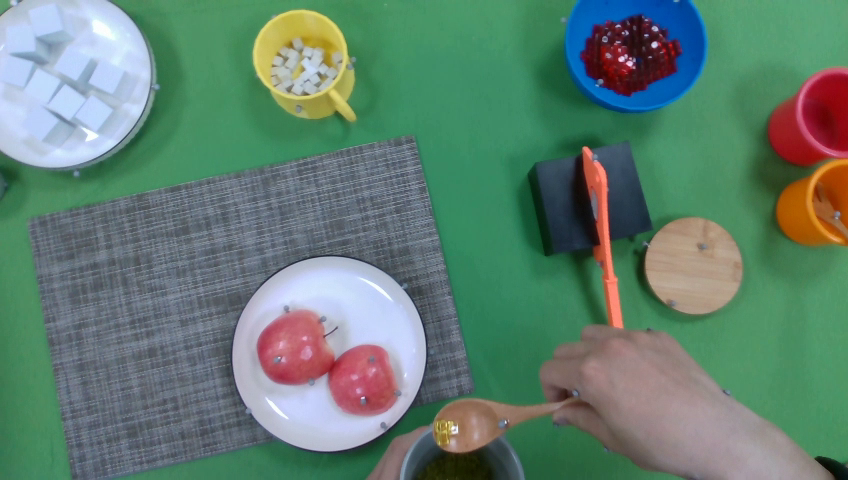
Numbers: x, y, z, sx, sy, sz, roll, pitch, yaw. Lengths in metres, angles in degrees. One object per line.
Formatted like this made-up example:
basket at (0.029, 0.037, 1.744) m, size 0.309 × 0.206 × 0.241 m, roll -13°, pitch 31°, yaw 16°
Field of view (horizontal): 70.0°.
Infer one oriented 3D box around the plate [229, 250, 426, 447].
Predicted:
plate at (-0.103, 0.115, 0.657) m, size 0.209 × 0.038 × 0.208 m, roll 0°, pitch 85°, yaw -1°

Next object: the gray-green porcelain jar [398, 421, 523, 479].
gray-green porcelain jar at (0.032, 0.229, 0.554) m, size 0.106 × 0.127 × 0.105 m, roll 0°, pitch 57°, yaw 1°

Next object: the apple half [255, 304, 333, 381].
apple half at (-0.141, 0.110, 0.642) m, size 0.074 × 0.053 × 0.080 m, roll -16°, pitch 86°, yaw 1°

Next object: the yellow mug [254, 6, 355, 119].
yellow mug at (-0.121, -0.186, 0.673) m, size 0.100 × 0.064 × 0.130 m, roll -41°, pitch 87°, yaw -4°

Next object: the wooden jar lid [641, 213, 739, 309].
wooden jar lid at (0.297, 0.024, 0.682) m, size 0.108 × 0.021 × 0.108 m, roll 0°, pitch 85°, yaw 1°

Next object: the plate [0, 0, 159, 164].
plate at (-0.400, -0.186, 0.684) m, size 0.208 × 0.039 × 0.207 m, roll 0°, pitch 85°, yaw 0°

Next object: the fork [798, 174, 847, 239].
fork at (0.433, -0.001, 0.620) m, size 0.028 × 0.019 × 0.205 m, roll 3°, pitch 41°, yaw 0°

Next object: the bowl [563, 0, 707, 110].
bowl at (0.222, -0.209, 0.672) m, size 0.151 × 0.077 × 0.151 m, roll 0°, pitch 85°, yaw 0°

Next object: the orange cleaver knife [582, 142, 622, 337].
orange cleaver knife at (0.190, 0.002, 0.652) m, size 0.012 × 0.076 × 0.212 m, roll -12°, pitch 109°, yaw 2°

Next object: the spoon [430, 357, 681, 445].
spoon at (0.094, 0.120, 0.455) m, size 0.193 × 0.022 × 0.041 m, roll -19°, pitch 86°, yaw 21°

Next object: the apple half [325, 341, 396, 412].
apple half at (-0.070, 0.148, 0.648) m, size 0.081 × 0.033 × 0.081 m, roll 0°, pitch 81°, yaw 1°

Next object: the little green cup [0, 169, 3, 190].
little green cup at (-0.505, -0.069, 0.672) m, size 0.061 × 0.038 × 0.061 m, roll 0°, pitch 86°, yaw -2°
